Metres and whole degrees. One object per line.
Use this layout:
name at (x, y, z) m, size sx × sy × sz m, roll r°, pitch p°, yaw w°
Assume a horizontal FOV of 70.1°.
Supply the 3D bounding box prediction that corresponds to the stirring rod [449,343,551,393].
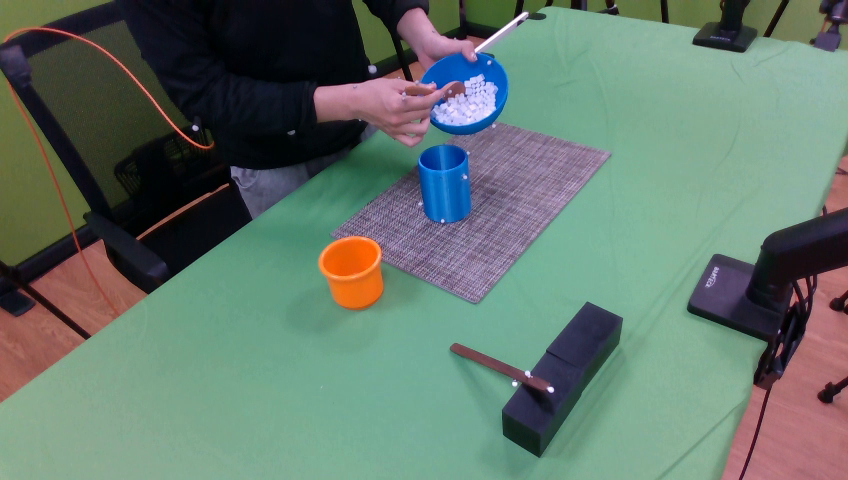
stirring rod at (0.088, 0.154, 0.741) m, size 0.014 × 0.006 × 0.174 m, roll -39°, pitch 28°, yaw -25°

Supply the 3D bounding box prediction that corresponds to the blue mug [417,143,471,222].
blue mug at (0.031, -0.104, 1.014) m, size 0.082 × 0.106 × 0.115 m, roll -14°, pitch 41°, yaw -8°

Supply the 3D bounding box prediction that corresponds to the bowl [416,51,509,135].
bowl at (0.069, -0.228, 1.002) m, size 0.151 × 0.077 × 0.150 m, roll -5°, pitch 65°, yaw 10°

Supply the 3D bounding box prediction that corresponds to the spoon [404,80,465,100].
spoon at (0.019, -0.234, 0.943) m, size 0.021 × 0.041 × 0.194 m, roll 49°, pitch 27°, yaw 6°
